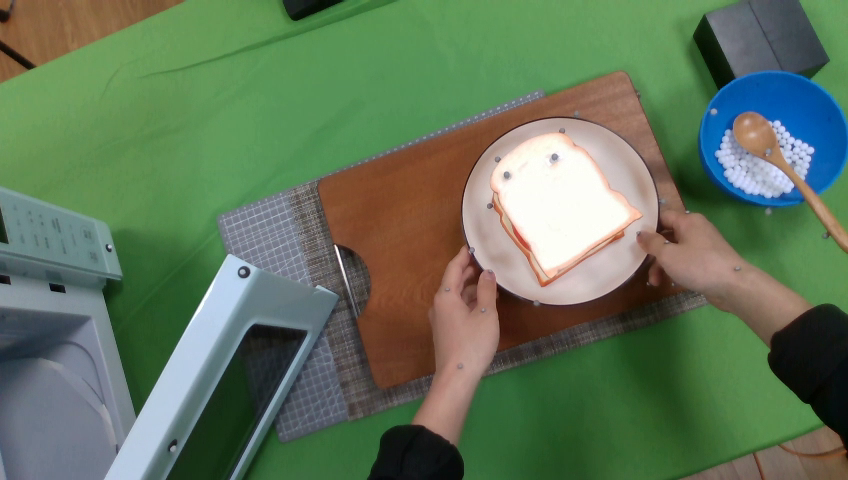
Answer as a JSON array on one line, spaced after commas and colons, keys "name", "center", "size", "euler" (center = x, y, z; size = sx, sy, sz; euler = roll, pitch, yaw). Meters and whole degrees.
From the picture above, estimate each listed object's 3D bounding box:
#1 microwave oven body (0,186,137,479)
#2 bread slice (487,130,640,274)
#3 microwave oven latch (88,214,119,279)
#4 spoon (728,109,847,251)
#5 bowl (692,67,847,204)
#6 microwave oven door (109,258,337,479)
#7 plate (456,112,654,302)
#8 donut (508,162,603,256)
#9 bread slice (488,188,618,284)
[{"name": "microwave oven body", "center": [-0.502, 0.208, 0.647], "size": [0.326, 0.261, 0.439], "euler": [-22, 78, 3]}, {"name": "bread slice", "center": [0.127, -0.044, 0.605], "size": [0.107, 0.018, 0.133], "euler": [-38, 71, 3]}, {"name": "microwave oven latch", "center": [-0.415, 0.009, 0.768], "size": [0.030, 0.029, 0.079], "euler": [-23, 79, 3]}, {"name": "spoon", "center": [0.383, -0.067, 0.635], "size": [0.041, 0.022, 0.191], "euler": [-22, 55, 3]}, {"name": "bowl", "center": [0.370, -0.105, 0.675], "size": [0.151, 0.077, 0.151], "euler": [-1, 81, 8]}, {"name": "microwave oven door", "center": [-0.215, 0.193, 0.605], "size": [0.039, 0.245, 0.355], "euler": [26, 85, 12]}, {"name": "plate", "center": [0.139, -0.035, 0.661], "size": [0.207, 0.039, 0.207], "euler": [-1, 81, 9]}, {"name": "donut", "center": [0.136, -0.032, 0.631], "size": [0.099, 0.048, 0.099], "euler": [-1, 83, 8]}, {"name": "bread slice", "center": [0.132, -0.032, 0.663], "size": [0.105, 0.019, 0.131], "euler": [-34, 78, 1]}]
